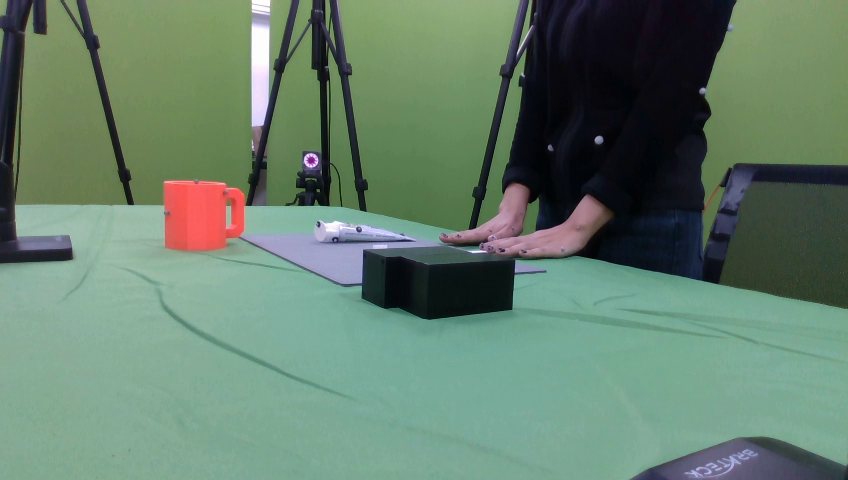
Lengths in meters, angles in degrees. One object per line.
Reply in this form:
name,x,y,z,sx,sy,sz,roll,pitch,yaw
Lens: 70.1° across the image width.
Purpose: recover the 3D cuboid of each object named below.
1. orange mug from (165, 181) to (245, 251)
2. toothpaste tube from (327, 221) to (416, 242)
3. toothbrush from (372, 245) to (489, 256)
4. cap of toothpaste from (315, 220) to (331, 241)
orange mug,-0.326,-0.040,0.911,0.083,0.101,0.127,8,14,37
toothpaste tube,-0.095,-0.013,1.026,0.166,0.034,0.055,2,14,-33
toothbrush,0.012,0.016,0.875,0.183,0.016,0.014,1,-7,-22
cap of toothpaste,-0.164,-0.016,0.982,0.011,0.037,0.037,-9,12,-43
